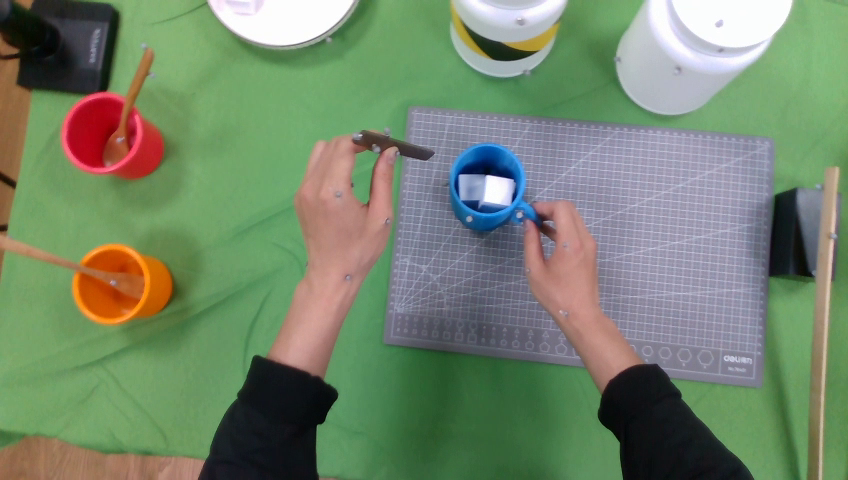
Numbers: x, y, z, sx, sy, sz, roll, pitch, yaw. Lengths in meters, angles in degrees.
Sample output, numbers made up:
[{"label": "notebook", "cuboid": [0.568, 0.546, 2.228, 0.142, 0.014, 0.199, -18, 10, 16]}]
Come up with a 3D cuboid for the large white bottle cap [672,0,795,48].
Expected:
[{"label": "large white bottle cap", "cuboid": [0.295, -0.242, 0.579, 0.115, 0.018, 0.114, 0, 84, 2]}]

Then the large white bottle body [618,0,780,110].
[{"label": "large white bottle body", "cuboid": [0.300, -0.232, 0.662, 0.130, 0.185, 0.130, 0, 84, 2]}]

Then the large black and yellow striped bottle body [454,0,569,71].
[{"label": "large black and yellow striped bottle body", "cuboid": [0.098, -0.283, 0.676, 0.131, 0.184, 0.130, 0, 84, 3]}]

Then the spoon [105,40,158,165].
[{"label": "spoon", "cuboid": [-0.340, -0.156, 0.703, 0.041, 0.021, 0.194, 53, 132, 9]}]

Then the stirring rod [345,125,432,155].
[{"label": "stirring rod", "cuboid": [-0.026, -0.086, 0.533, 0.014, 0.176, 0.006, -40, 81, 17]}]

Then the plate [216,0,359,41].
[{"label": "plate", "cuboid": [-0.168, -0.349, 0.766, 0.207, 0.039, 0.207, 0, 85, 3]}]

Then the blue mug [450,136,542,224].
[{"label": "blue mug", "cuboid": [0.085, -0.056, 0.693, 0.116, 0.106, 0.082, 35, 87, 5]}]

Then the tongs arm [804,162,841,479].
[{"label": "tongs arm", "cuboid": [0.451, 0.109, 0.665, 0.051, 0.026, 0.385, 2, 97, 0]}]

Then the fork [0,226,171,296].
[{"label": "fork", "cuboid": [-0.390, 0.022, 0.686, 0.209, 0.018, 0.028, 28, 85, -38]}]
